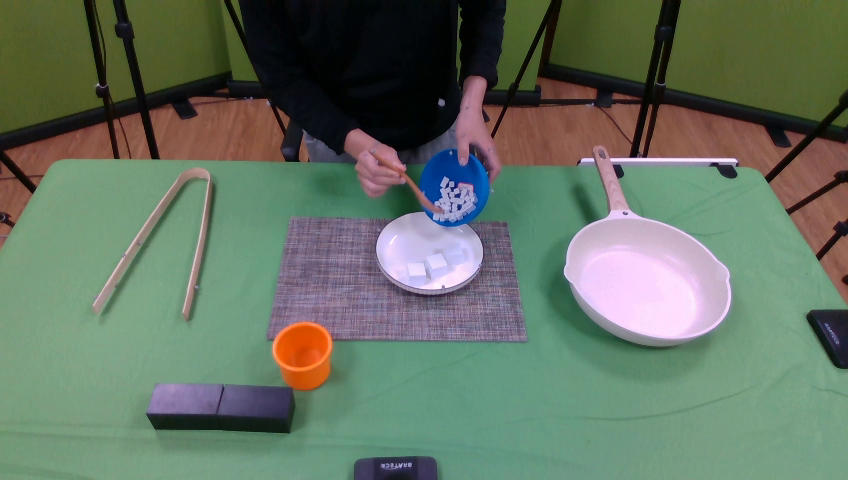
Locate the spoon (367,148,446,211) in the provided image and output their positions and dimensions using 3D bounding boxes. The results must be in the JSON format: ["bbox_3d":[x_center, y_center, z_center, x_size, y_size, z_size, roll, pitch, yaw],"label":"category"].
[{"bbox_3d":[-0.030,-0.106,1.081,0.021,0.195,0.041,-51,31,-3],"label":"spoon"}]

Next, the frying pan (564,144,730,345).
[{"bbox_3d":[0.396,-0.008,1.179,0.307,0.103,0.484,0,55,-5],"label":"frying pan"}]

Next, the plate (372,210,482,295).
[{"bbox_3d":[0.005,0.028,1.155,0.208,0.039,0.206,2,46,-2],"label":"plate"}]

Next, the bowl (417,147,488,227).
[{"bbox_3d":[0.069,-0.099,1.165,0.150,0.151,0.077,40,23,29],"label":"bowl"}]

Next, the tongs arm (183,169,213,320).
[{"bbox_3d":[-0.436,-0.005,1.166,0.028,0.028,0.385,-5,46,-6],"label":"tongs arm"}]

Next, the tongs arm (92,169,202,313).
[{"bbox_3d":[-0.517,-0.012,1.160,0.051,0.026,0.382,7,45,1],"label":"tongs arm"}]
